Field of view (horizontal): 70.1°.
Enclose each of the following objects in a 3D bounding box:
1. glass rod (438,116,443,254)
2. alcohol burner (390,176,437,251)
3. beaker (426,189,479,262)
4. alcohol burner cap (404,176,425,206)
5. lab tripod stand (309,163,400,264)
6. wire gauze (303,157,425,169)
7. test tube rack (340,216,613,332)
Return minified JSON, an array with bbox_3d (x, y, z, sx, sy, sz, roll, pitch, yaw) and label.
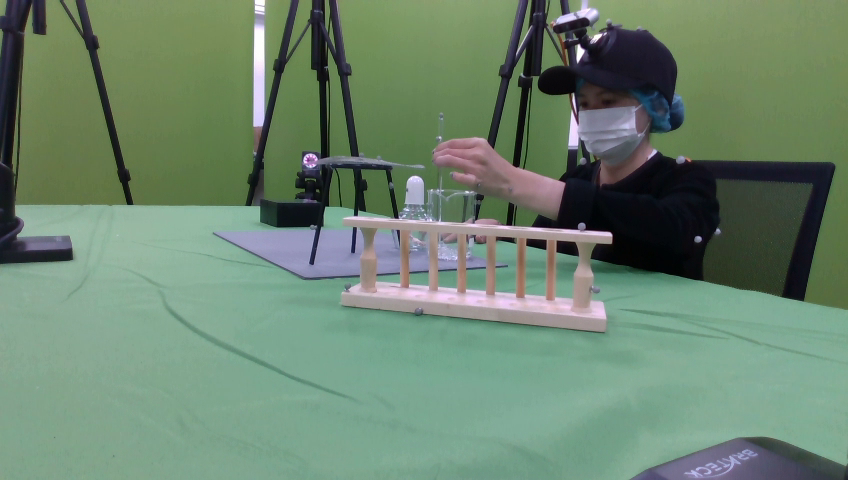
[{"bbox_3d":[0.023,-0.077,0.873,0.008,0.199,0.008,0,10,0],"label":"glass rod"},{"bbox_3d":[-0.016,-0.042,0.955,0.078,0.119,0.078,4,5,0],"label":"alcohol burner"},{"bbox_3d":[0.039,-0.022,0.872,0.074,0.100,0.084,4,8,12],"label":"beaker"},{"bbox_3d":[-0.015,-0.077,0.951,0.034,0.048,0.034,2,4,0],"label":"alcohol burner cap"},{"bbox_3d":[-0.091,-0.037,0.813,0.148,0.131,0.148,1,6,0],"label":"lab tripod stand"},{"bbox_3d":[-0.082,-0.102,0.799,0.126,0.011,0.121,-1,7,-30],"label":"wire gauze"},{"bbox_3d":[0.048,0.026,0.568,0.242,0.085,0.067,4,8,13],"label":"test tube rack"}]
